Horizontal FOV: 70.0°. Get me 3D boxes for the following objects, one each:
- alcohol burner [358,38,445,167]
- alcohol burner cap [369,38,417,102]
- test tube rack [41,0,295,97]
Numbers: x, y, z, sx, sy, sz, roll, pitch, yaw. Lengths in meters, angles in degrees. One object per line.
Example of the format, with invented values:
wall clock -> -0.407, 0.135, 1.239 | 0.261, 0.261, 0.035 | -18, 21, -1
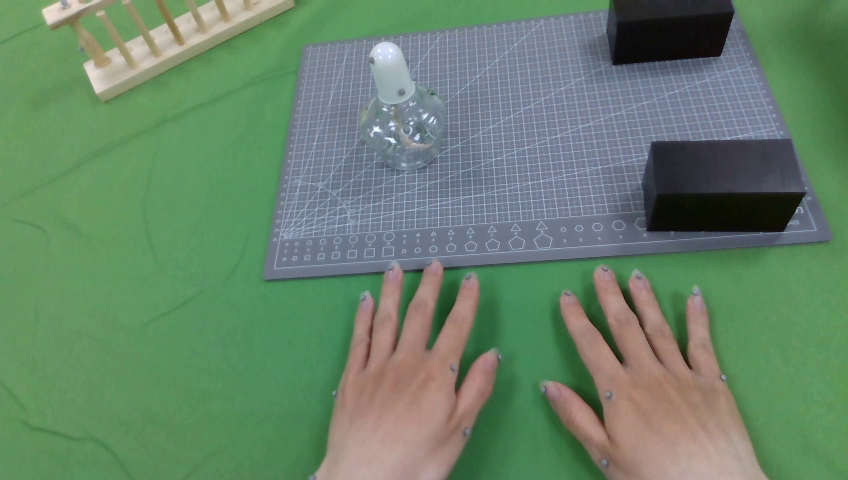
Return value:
alcohol burner -> -0.022, -0.120, 0.517 | 0.078, 0.120, 0.077 | -5, 55, 7
alcohol burner cap -> -0.027, -0.139, 0.488 | 0.034, 0.048, 0.033 | -8, 52, 11
test tube rack -> -0.275, -0.263, 0.672 | 0.242, 0.086, 0.066 | -31, 58, -11
